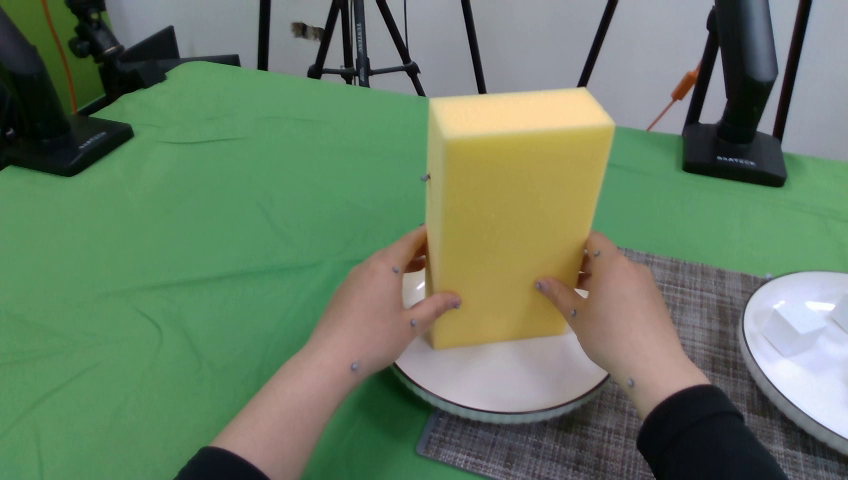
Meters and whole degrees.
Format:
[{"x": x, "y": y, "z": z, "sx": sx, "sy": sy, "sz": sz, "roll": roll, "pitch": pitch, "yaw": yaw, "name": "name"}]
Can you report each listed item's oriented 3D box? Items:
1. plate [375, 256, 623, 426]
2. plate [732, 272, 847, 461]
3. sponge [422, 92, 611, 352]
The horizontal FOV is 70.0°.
[{"x": 0.062, "y": 0.078, "z": 0.524, "sx": 0.209, "sy": 0.038, "sz": 0.207, "roll": 1, "pitch": 38, "yaw": 0, "name": "plate"}, {"x": 0.357, "y": 0.107, "z": 0.489, "sx": 0.208, "sy": 0.039, "sz": 0.205, "roll": 0, "pitch": 38, "yaw": 0, "name": "plate"}, {"x": 0.061, "y": -0.007, "z": 0.481, "sx": 0.118, "sy": 0.208, "sz": 0.060, "roll": -5, "pitch": 40, "yaw": -9, "name": "sponge"}]
